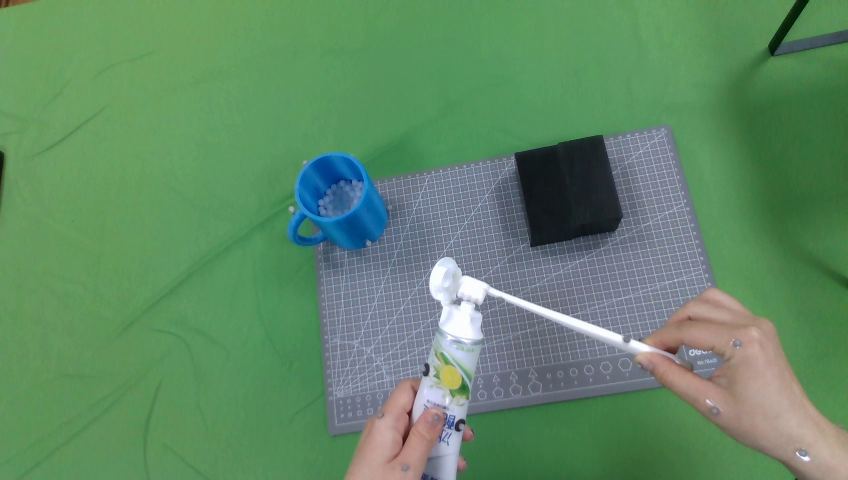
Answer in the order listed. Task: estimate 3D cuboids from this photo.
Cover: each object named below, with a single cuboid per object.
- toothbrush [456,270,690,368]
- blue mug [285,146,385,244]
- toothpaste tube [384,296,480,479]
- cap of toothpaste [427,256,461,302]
[{"bbox_3d":[0.109,0.061,0.450,0.182,0.014,0.016,20,56,3],"label":"toothbrush"},{"bbox_3d":[-0.108,-0.039,0.699,0.116,0.106,0.082,-37,72,-3],"label":"blue mug"},{"bbox_3d":[0.010,0.121,0.464,0.055,0.034,0.165,16,100,18],"label":"toothpaste tube"},{"bbox_3d":[0.017,0.030,0.461,0.011,0.038,0.037,11,74,41],"label":"cap of toothpaste"}]
